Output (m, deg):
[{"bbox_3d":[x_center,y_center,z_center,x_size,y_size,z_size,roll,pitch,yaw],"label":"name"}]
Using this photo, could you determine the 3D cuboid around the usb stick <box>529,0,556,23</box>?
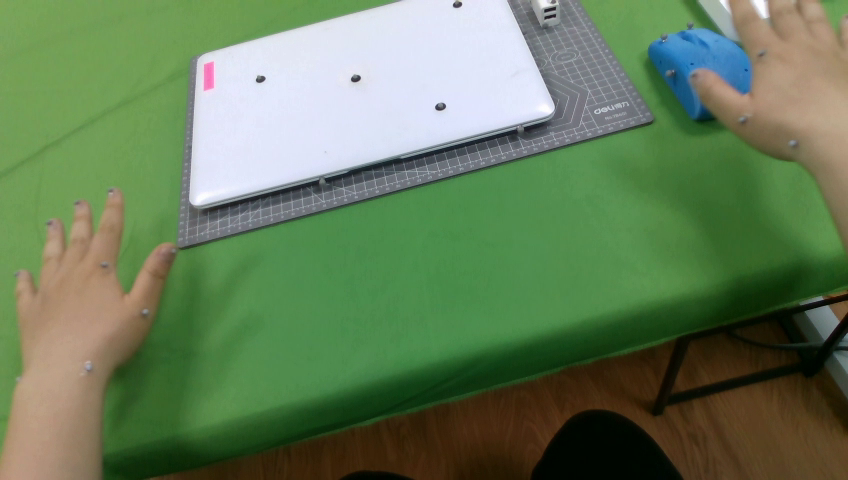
[{"bbox_3d":[0.126,-0.264,0.657,0.021,0.027,0.058,-14,51,5],"label":"usb stick"}]

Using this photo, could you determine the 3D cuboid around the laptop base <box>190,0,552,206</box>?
[{"bbox_3d":[-0.069,-0.161,0.632,0.354,0.023,0.233,-15,56,1],"label":"laptop base"}]

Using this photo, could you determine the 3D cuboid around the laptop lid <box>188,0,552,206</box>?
[{"bbox_3d":[-0.071,-0.166,0.621,0.357,0.013,0.239,-13,55,2],"label":"laptop lid"}]

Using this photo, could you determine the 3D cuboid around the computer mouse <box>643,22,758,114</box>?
[{"bbox_3d":[0.251,-0.165,0.555,0.063,0.041,0.116,-15,49,4],"label":"computer mouse"}]

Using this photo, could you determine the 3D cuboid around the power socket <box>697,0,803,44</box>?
[{"bbox_3d":[0.310,-0.286,0.632,0.072,0.033,0.224,-13,53,4],"label":"power socket"}]
